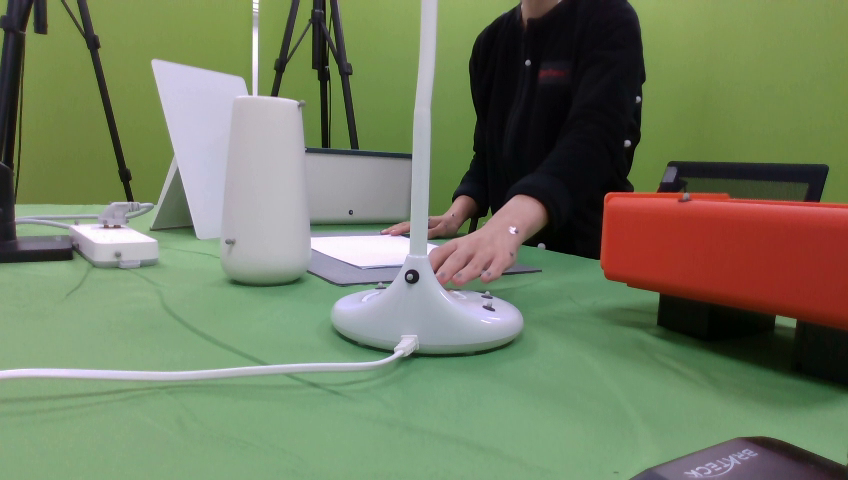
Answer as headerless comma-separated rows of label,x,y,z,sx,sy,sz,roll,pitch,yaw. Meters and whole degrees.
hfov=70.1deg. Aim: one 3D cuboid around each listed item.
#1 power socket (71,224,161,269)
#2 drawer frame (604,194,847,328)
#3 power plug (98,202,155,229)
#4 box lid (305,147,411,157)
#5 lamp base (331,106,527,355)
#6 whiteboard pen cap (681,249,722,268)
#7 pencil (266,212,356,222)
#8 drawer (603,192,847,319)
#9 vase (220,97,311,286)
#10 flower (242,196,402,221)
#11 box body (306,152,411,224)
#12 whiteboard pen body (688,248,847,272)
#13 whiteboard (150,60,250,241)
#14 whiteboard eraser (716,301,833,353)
power socket,-0.408,0.004,0.793,0.072,0.032,0.225,-2,8,-38
drawer frame,0.298,0.007,0.497,0.203,0.082,0.212,-1,7,-34
power plug,-0.416,-0.027,0.848,0.073,0.052,0.035,0,8,-28
box lid,-0.229,-0.200,1.361,0.373,0.015,0.262,-2,9,-33
lamp base,0.006,-0.012,0.478,0.161,0.180,0.179,2,10,2
whiteboard pen cap,0.250,0.017,0.544,0.033,0.018,0.018,2,7,25
pencil,-0.244,-0.049,1.319,0.195,0.012,0.012,4,7,-12
drawer,0.293,0.003,0.500,0.195,0.073,0.210,-2,8,-34
vase,-0.172,-0.052,0.662,0.098,0.200,0.098,3,9,0
flower,-0.231,-0.065,1.372,0.362,0.038,0.044,6,39,-2
box body,-0.230,-0.126,1.371,0.366,0.160,0.253,-2,9,-33
whiteboard pen body,0.304,0.017,0.520,0.140,0.017,0.017,3,7,26
whiteboard,-0.408,-0.139,1.093,0.143,0.305,0.218,-15,-1,26
whiteboard eraser,0.256,0.042,0.472,0.112,0.042,0.056,43,19,30
